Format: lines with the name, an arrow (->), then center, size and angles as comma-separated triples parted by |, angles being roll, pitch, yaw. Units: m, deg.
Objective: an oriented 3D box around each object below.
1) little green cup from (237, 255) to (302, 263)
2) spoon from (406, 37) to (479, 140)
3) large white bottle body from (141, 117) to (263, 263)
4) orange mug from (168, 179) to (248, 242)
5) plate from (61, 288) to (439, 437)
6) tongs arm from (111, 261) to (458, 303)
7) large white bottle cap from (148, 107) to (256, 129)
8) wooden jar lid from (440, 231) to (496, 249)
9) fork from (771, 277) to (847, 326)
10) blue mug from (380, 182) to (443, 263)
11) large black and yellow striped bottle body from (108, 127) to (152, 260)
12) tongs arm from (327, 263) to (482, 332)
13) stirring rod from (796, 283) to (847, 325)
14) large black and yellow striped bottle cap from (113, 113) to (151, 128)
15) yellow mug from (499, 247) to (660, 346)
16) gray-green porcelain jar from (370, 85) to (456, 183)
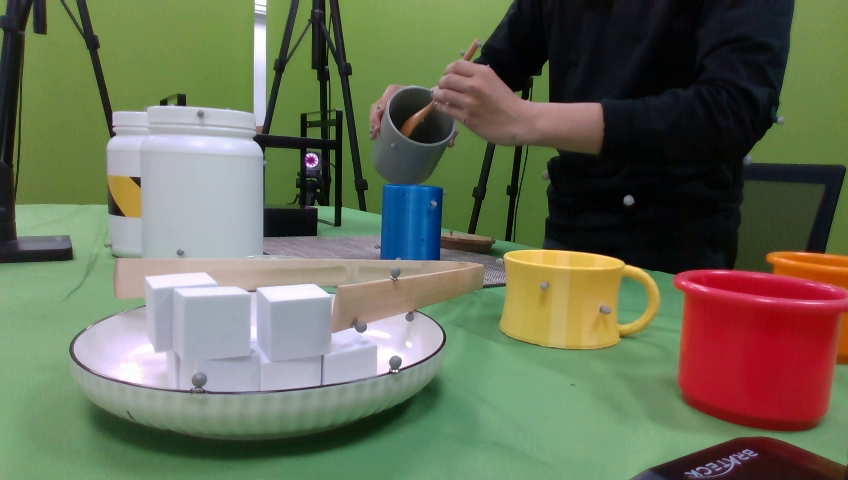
little green cup -> -0.150, 0.038, 0.590 | 0.061, 0.038, 0.061 | 3, 6, 0
spoon -> 0.022, -0.199, 0.842 | 0.022, 0.193, 0.041 | 24, 35, -25
large white bottle body -> -0.254, -0.054, 0.697 | 0.131, 0.184, 0.130 | 2, 7, 0
orange mug -> -0.351, -0.050, 0.986 | 0.126, 0.101, 0.083 | -3, 8, -9
plate -> -0.095, 0.069, 0.362 | 0.208, 0.039, 0.207 | 3, 7, 0
tongs arm -> -0.080, 0.032, 0.527 | 0.028, 0.027, 0.389 | -3, -3, 33
large white bottle cap -> -0.250, -0.137, 0.686 | 0.115, 0.018, 0.115 | 2, 8, 0
wooden jar lid -> 0.066, 0.000, 1.011 | 0.108, 0.020, 0.108 | 6, 7, 0
fork -> 0.335, 0.018, 0.443 | 0.028, 0.018, 0.207 | -1, -36, -20
blue mug -> -0.020, -0.026, 0.833 | 0.082, 0.106, 0.116 | 1, 7, -7
large black and yellow striped bottle body -> -0.350, -0.071, 0.812 | 0.131, 0.184, 0.130 | 2, 8, 0
tongs arm -> -0.003, 0.036, 0.493 | 0.050, 0.026, 0.386 | 1, 0, 19
stirring rod -> 0.347, 0.019, 0.460 | 0.014, 0.176, 0.006 | -17, 59, -26
large black and yellow striped bottle cap -> -0.348, -0.154, 0.800 | 0.115, 0.019, 0.115 | 2, 6, 0
yellow mug -> 0.130, 0.045, 0.508 | 0.131, 0.064, 0.100 | 4, 7, 6
gray-green porcelain jar -> -0.021, -0.151, 0.909 | 0.106, 0.105, 0.126 | 0, -27, -19
